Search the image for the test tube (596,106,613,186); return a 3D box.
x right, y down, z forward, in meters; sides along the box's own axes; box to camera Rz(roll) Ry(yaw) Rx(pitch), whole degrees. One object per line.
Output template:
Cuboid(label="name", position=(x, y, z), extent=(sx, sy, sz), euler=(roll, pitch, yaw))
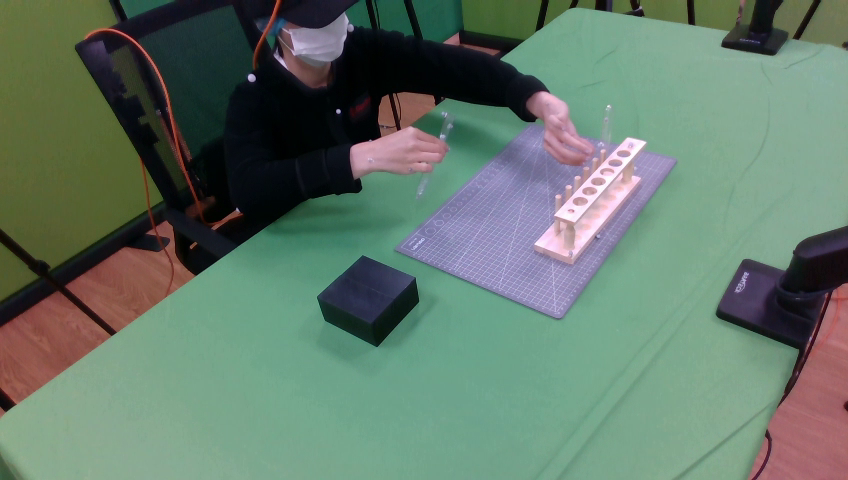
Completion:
Cuboid(label="test tube", position=(0.294, -0.149, 0.984), extent=(0.017, 0.151, 0.017), euler=(-5, 41, 4))

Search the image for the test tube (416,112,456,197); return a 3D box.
Cuboid(label="test tube", position=(0.018, -0.138, 0.990), extent=(0.017, 0.150, 0.017), euler=(19, 22, -8))

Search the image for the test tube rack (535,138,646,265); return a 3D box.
Cuboid(label="test tube rack", position=(0.268, -0.071, 0.964), extent=(0.066, 0.085, 0.243), euler=(23, 49, 32))
